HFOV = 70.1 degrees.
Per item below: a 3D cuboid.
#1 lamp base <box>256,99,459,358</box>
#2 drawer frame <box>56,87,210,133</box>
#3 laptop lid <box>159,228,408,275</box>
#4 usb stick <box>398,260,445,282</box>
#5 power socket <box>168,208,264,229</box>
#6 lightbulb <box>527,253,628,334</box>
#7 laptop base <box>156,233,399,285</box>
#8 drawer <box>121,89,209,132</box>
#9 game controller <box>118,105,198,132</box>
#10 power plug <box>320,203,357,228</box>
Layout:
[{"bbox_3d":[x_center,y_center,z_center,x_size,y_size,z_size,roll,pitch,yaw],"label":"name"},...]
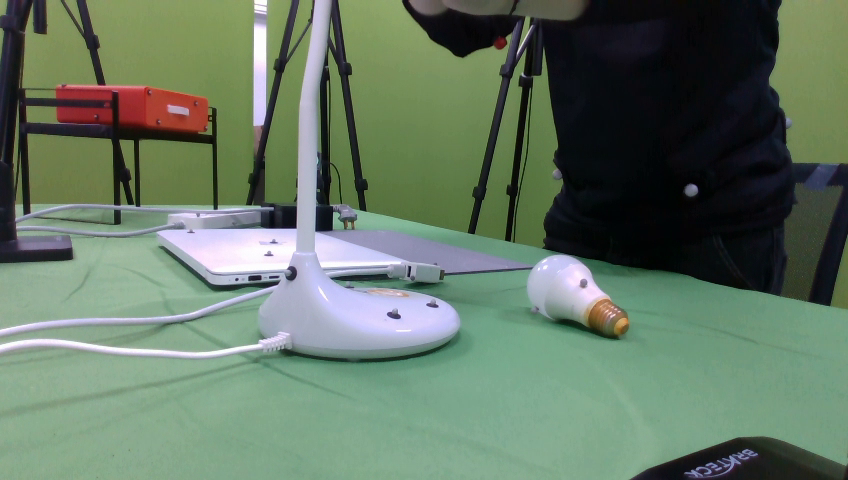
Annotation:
[{"bbox_3d":[-0.055,-0.013,0.462,0.160,0.180,0.180,6,11,27],"label":"lamp base"},{"bbox_3d":[-0.598,-0.269,1.261,0.213,0.082,0.202,4,8,14],"label":"drawer frame"},{"bbox_3d":[-0.201,0.007,0.806,0.243,0.013,0.355,-1,8,-31],"label":"laptop lid"},{"bbox_3d":[-0.001,0.036,0.696,0.027,0.021,0.059,8,1,43],"label":"usb stick"},{"bbox_3d":[-0.381,-0.038,1.128,0.072,0.032,0.227,4,8,16],"label":"power socket"},{"bbox_3d":[0.137,0.050,0.534,0.060,0.059,0.107,-3,24,-33],"label":"lightbulb"},{"bbox_3d":[-0.204,0.019,0.806,0.237,0.023,0.352,0,7,-33],"label":"laptop base"},{"bbox_3d":[-0.595,-0.268,1.263,0.211,0.073,0.195,4,8,15],"label":"drawer"},{"bbox_3d":[-0.554,-0.252,1.254,0.097,0.051,0.155,6,11,19],"label":"game controller"},{"bbox_3d":[-0.170,-0.046,1.209,0.073,0.052,0.035,-6,-18,-10],"label":"power plug"}]
